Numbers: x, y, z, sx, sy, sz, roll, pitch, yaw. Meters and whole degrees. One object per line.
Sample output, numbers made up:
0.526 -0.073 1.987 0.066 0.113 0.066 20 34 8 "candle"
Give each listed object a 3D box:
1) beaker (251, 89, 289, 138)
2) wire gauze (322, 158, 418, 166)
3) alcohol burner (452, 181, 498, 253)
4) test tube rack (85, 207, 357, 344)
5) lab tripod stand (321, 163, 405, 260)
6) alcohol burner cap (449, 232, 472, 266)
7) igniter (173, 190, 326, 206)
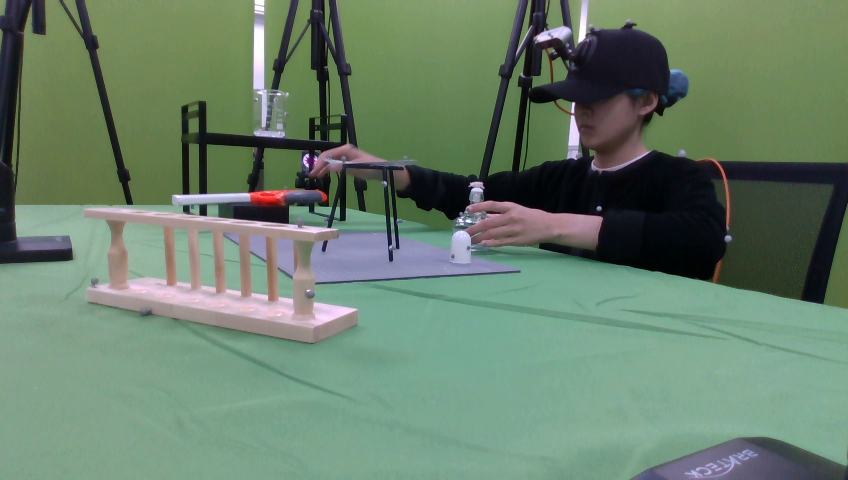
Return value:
-0.334 -0.273 1.316 0.084 0.100 0.074 6 8 15 "beaker"
-0.081 -0.112 0.877 0.122 0.011 0.124 0 6 -18 "wire gauze"
0.086 -0.039 1.006 0.078 0.119 0.078 4 8 0 "alcohol burner"
-0.177 0.022 0.518 0.241 0.085 0.067 6 7 23 "test tube rack"
-0.075 -0.045 0.884 0.148 0.131 0.148 2 5 0 "lab tripod stand"
0.052 0.012 0.843 0.034 0.048 0.034 1 6 0 "alcohol burner cap"
-0.317 -0.079 1.128 0.278 0.025 0.057 -4 13 -32 "igniter"
